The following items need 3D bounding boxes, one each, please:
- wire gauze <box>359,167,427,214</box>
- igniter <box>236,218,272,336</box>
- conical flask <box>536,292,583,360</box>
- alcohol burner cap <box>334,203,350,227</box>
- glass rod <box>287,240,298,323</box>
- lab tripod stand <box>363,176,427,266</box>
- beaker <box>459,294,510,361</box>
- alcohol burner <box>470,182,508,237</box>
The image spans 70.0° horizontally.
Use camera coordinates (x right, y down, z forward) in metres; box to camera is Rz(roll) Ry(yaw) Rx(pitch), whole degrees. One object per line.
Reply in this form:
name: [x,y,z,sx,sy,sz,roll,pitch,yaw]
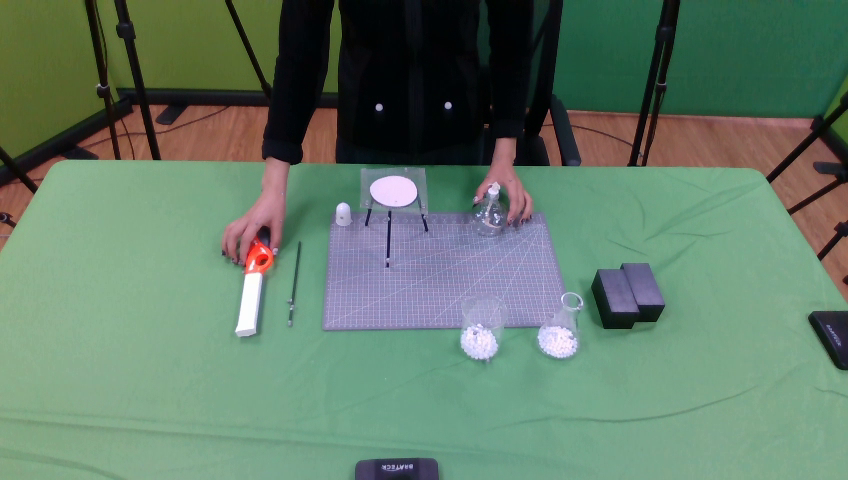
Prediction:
wire gauze: [-0.058,-0.093,1.110,0.125,0.011,0.120,2,45,-5]
igniter: [-0.312,0.058,1.115,0.057,0.025,0.274,-7,46,1]
conical flask: [0.234,0.139,1.015,0.075,0.122,0.075,2,46,-2]
alcohol burner cap: [-0.166,-0.054,1.221,0.034,0.048,0.033,2,46,-2]
glass rod: [-0.242,0.072,1.119,0.008,0.008,0.198,-1,47,-5]
lab tripod stand: [-0.057,-0.047,1.159,0.148,0.132,0.147,3,44,-2]
beaker: [0.095,0.147,1.012,0.083,0.101,0.074,26,49,21]
alcohol burner: [0.132,-0.065,1.207,0.078,0.120,0.077,2,44,-1]
